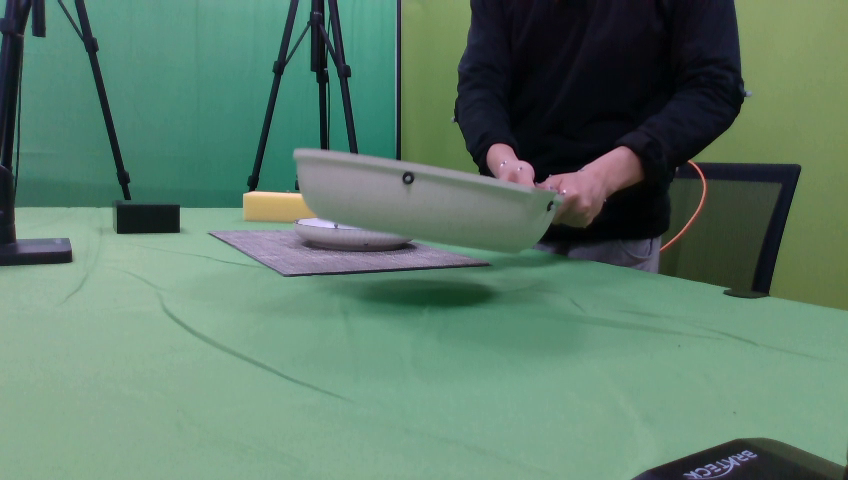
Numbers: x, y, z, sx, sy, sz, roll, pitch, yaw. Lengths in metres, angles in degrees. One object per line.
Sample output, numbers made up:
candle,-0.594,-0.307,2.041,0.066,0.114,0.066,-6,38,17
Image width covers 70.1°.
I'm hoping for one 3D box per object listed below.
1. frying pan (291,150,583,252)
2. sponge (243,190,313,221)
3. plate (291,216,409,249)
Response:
frying pan,0.070,-0.048,0.734,0.305,0.102,0.491,13,13,42
sponge,-0.299,-0.077,1.388,0.207,0.061,0.118,2,8,-7
plate,-0.115,-0.013,1.002,0.208,0.039,0.207,2,7,0
